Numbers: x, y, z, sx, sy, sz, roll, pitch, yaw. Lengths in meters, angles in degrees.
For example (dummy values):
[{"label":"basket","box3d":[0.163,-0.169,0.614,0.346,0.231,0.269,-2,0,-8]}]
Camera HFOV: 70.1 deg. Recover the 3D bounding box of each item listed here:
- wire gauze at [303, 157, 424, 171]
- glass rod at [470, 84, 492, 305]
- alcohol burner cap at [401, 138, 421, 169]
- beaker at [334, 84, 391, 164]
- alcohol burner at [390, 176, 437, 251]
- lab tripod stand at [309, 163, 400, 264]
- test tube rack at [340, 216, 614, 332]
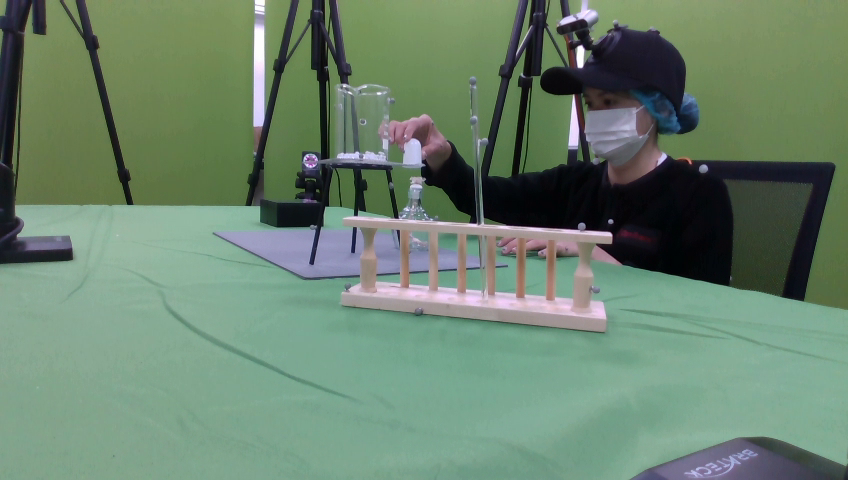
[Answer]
[{"label":"wire gauze","box3d":[-0.082,-0.101,0.799,0.126,0.011,0.121,1,7,-30]},{"label":"glass rod","box3d":[0.051,-0.036,0.535,0.008,0.199,0.008,-5,10,1]},{"label":"alcohol burner cap","box3d":[-0.020,-0.138,0.955,0.034,0.048,0.034,4,-3,1]},{"label":"beaker","box3d":[-0.082,-0.149,0.792,0.074,0.100,0.084,2,5,4]},{"label":"alcohol burner","box3d":[-0.016,-0.042,0.955,0.078,0.119,0.078,4,6,0]},{"label":"lab tripod stand","box3d":[-0.091,-0.037,0.813,0.148,0.131,0.148,1,6,0]},{"label":"test tube rack","box3d":[0.048,0.026,0.568,0.242,0.085,0.067,4,8,13]}]
